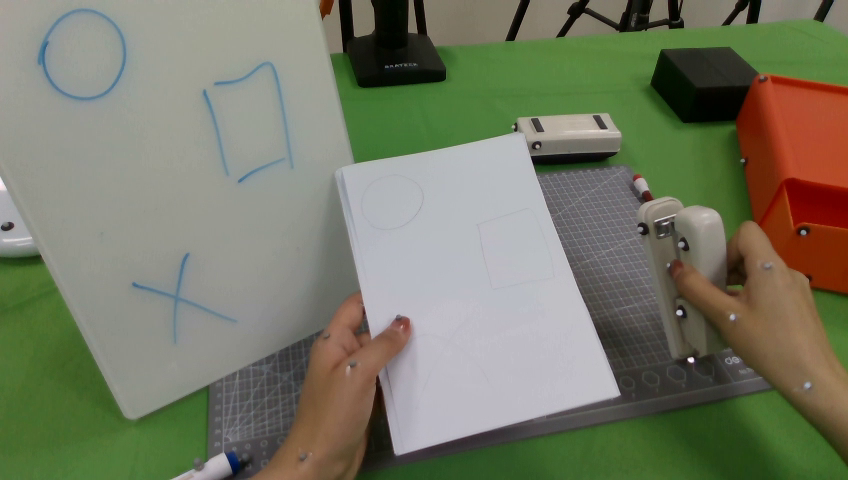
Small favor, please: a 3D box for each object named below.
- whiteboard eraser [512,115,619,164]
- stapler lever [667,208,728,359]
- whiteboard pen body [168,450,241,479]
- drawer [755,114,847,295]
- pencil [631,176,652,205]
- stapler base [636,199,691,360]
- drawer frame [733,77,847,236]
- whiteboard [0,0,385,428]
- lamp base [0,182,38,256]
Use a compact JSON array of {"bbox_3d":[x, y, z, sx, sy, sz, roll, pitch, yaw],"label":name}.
[{"bbox_3d":[0.161,-0.114,0.693,0.113,0.042,0.055,-3,44,-7],"label":"whiteboard eraser"},{"bbox_3d":[0.211,0.034,0.460,0.027,0.118,0.040,-16,6,-8],"label":"stapler lever"},{"bbox_3d":[-0.185,0.171,0.381,0.141,0.017,0.017,-22,49,-26],"label":"whiteboard pen body"},{"bbox_3d":[0.436,-0.035,0.598,0.194,0.074,0.210,11,44,9],"label":"drawer"},{"bbox_3d":[0.241,0.001,0.596,0.012,0.012,0.192,-3,46,-7],"label":"pencil"},{"bbox_3d":[0.206,0.032,0.485,0.041,0.131,0.024,-16,6,-8],"label":"stapler base"},{"bbox_3d":[0.451,-0.078,0.643,0.201,0.083,0.212,11,43,9],"label":"drawer frame"},{"bbox_3d":[-0.182,-0.060,0.462,0.217,0.308,0.142,-24,30,-25],"label":"whiteboard"},{"bbox_3d":[-0.381,-0.102,0.542,0.178,0.182,0.160,20,46,21],"label":"lamp base"}]
